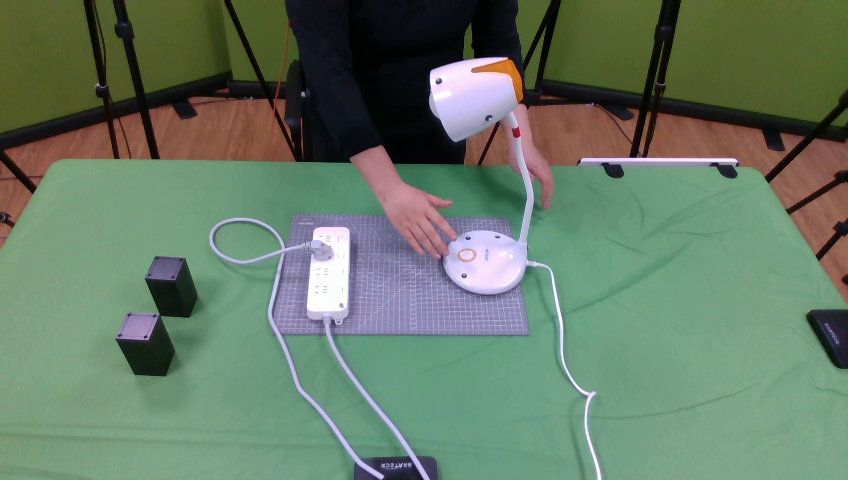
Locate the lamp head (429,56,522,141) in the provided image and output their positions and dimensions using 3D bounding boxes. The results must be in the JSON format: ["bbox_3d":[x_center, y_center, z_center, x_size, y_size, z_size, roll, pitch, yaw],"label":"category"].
[{"bbox_3d":[0.082,-0.212,0.882,0.123,0.113,0.111,-13,44,14],"label":"lamp head"}]

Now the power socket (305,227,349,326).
[{"bbox_3d":[-0.177,0.058,1.115,0.072,0.033,0.225,-1,46,-4],"label":"power socket"}]

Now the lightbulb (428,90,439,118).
[{"bbox_3d":[0.057,-0.213,0.889,0.107,0.060,0.059,-12,41,23],"label":"lightbulb"}]

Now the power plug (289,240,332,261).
[{"bbox_3d":[-0.207,0.022,1.123,0.072,0.053,0.035,6,44,5],"label":"power plug"}]

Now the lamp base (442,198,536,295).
[{"bbox_3d":[0.131,-0.013,1.106,0.179,0.181,0.159,0,46,-8],"label":"lamp base"}]
